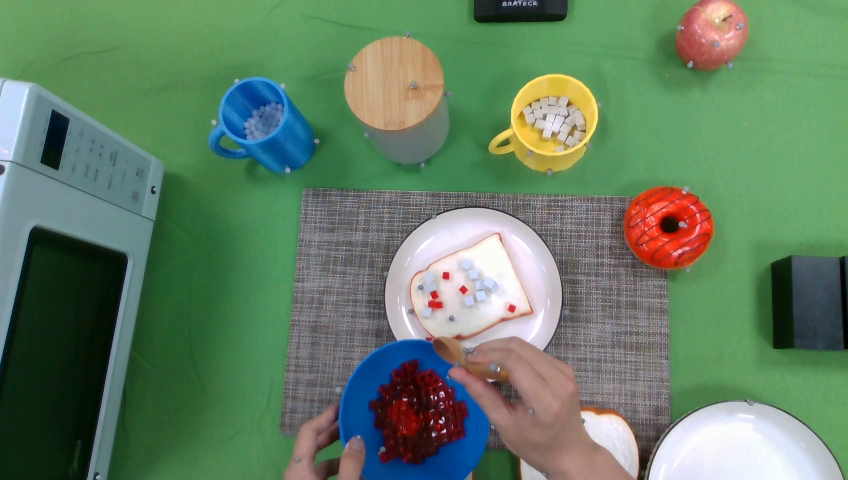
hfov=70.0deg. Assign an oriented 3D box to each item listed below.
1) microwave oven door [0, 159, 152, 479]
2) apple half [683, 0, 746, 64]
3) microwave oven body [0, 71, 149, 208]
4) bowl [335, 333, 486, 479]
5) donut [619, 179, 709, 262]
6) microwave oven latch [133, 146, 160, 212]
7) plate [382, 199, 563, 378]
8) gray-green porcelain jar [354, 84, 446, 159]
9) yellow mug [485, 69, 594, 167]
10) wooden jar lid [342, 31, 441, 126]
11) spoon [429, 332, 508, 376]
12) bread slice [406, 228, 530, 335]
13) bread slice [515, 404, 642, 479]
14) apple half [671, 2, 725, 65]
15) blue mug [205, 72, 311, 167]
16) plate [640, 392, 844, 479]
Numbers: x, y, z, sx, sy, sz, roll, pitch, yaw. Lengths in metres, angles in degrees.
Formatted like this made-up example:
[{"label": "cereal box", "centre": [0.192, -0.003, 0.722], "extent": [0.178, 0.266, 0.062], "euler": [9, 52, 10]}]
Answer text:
[{"label": "microwave oven door", "centre": [-0.391, 0.119, 0.626], "extent": [0.039, 0.245, 0.354], "euler": [5, 80, 7]}, {"label": "apple half", "centre": [0.348, -0.256, 0.723], "extent": [0.053, 0.075, 0.080], "euler": [-30, 74, -5]}, {"label": "microwave oven body", "centre": [-0.530, 0.065, 0.654], "extent": [0.325, 0.261, 0.440], "euler": [5, 81, 6]}, {"label": "bowl", "centre": [-0.019, 0.177, 0.621], "extent": [0.152, 0.077, 0.150], "euler": [5, 69, -12]}, {"label": "donut", "centre": [0.276, -0.023, 0.700], "extent": [0.099, 0.048, 0.098], "euler": [-1, 81, 6]}, {"label": "microwave oven latch", "centre": [-0.354, -0.077, 0.760], "extent": [0.030, 0.029, 0.079], "euler": [7, 82, 7]}, {"label": "plate", "centre": [0.056, 0.056, 0.712], "extent": [0.207, 0.039, 0.207], "euler": [-1, 80, 6]}, {"label": "gray-green porcelain jar", "centre": [-0.028, -0.160, 0.716], "extent": [0.106, 0.127, 0.105], "euler": [-1, 79, 6]}, {"label": "yellow mug", "centre": [0.134, -0.139, 0.727], "extent": [0.131, 0.064, 0.099], "euler": [-22, 78, 2]}, {"label": "wooden jar lid", "centre": [-0.035, -0.172, 0.655], "extent": [0.108, 0.021, 0.108], "euler": [-1, 78, 6]}, {"label": "spoon", "centre": [0.036, 0.098, 0.507], "extent": [0.042, 0.193, 0.021], "euler": [42, 82, -6]}, {"label": "bread slice", "centre": [0.046, 0.057, 0.714], "extent": [0.131, 0.019, 0.104], "euler": [-24, 79, 0]}, {"label": "bread slice", "centre": [0.169, 0.232, 0.646], "extent": [0.135, 0.018, 0.106], "euler": [-2, 76, -15]}, {"label": "apple half", "centre": [0.315, -0.236, 0.721], "extent": [0.033, 0.081, 0.081], "euler": [-30, 78, -5]}, {"label": "blue mug", "centre": [-0.207, -0.137, 0.740], "extent": [0.116, 0.106, 0.082], "euler": [-23, 78, 2]}, {"label": "plate", "centre": [0.335, 0.268, 0.650], "extent": [0.209, 0.038, 0.208], "euler": [-1, 80, 6]}]
